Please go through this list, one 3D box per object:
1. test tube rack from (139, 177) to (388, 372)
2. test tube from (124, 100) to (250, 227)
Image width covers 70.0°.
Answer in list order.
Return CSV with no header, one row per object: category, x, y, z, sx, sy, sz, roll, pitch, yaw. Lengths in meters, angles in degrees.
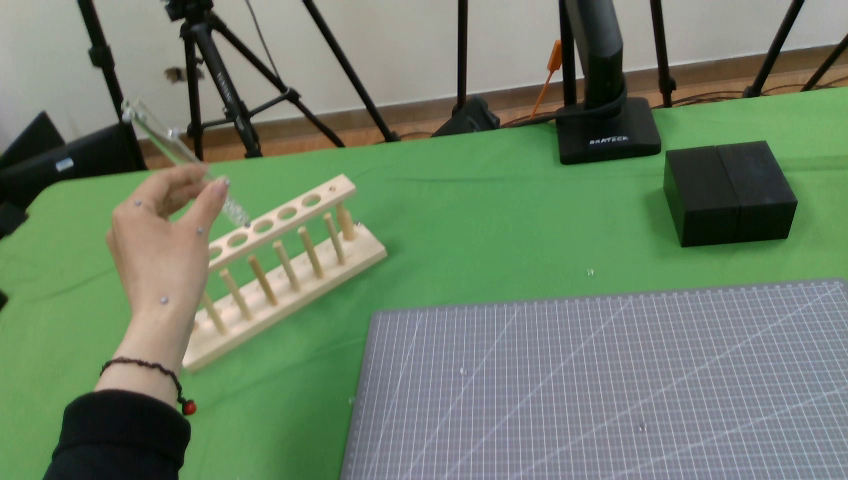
test tube rack,-0.166,0.033,0.657,0.242,0.086,0.066,-31,44,-17
test tube,-0.191,-0.057,0.505,0.017,0.152,0.017,-12,52,16
